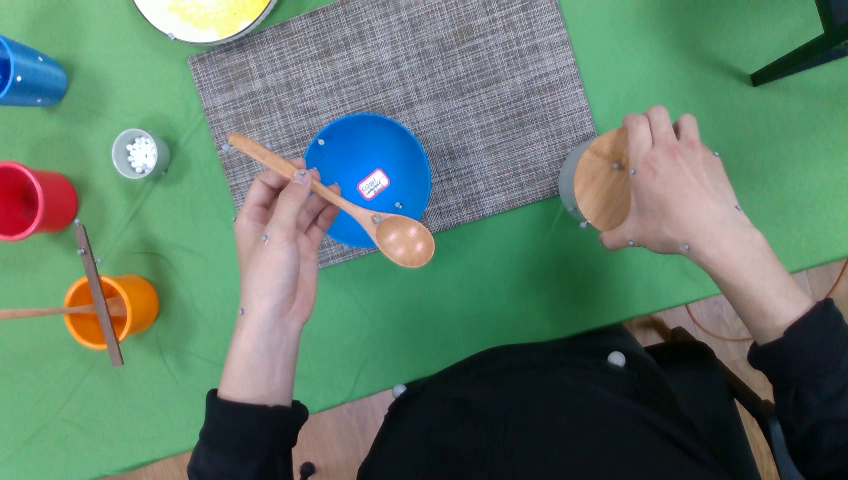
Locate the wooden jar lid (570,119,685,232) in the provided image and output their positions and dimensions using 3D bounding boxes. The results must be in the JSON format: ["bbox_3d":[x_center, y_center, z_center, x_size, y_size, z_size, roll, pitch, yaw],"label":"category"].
[{"bbox_3d":[0.196,-0.062,0.588,0.108,0.020,0.108,0,97,4],"label":"wooden jar lid"}]

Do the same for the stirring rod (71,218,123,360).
[{"bbox_3d":[-0.391,0.059,0.723,0.014,0.006,0.176,-15,93,7],"label":"stirring rod"}]

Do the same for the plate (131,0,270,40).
[{"bbox_3d":[-0.265,-0.345,0.730,0.209,0.038,0.209,1,95,7],"label":"plate"}]

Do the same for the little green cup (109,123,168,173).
[{"bbox_3d":[-0.356,-0.114,0.762,0.061,0.038,0.061,1,96,8],"label":"little green cup"}]

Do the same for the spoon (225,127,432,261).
[{"bbox_3d":[-0.078,-0.041,0.507,0.195,0.021,0.041,32,95,-13],"label":"spoon"}]

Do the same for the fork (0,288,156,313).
[{"bbox_3d":[-0.438,0.077,0.733,0.208,0.018,0.028,-1,99,-36],"label":"fork"}]

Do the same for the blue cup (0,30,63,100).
[{"bbox_3d":[-0.504,-0.210,0.739,0.092,0.100,0.093,1,96,9],"label":"blue cup"}]

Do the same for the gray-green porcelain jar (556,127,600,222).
[{"bbox_3d":[0.200,-0.069,0.649,0.106,0.126,0.106,0,97,4],"label":"gray-green porcelain jar"}]

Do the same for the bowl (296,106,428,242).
[{"bbox_3d":[-0.065,-0.075,0.705,0.151,0.077,0.151,1,96,7],"label":"bowl"}]
